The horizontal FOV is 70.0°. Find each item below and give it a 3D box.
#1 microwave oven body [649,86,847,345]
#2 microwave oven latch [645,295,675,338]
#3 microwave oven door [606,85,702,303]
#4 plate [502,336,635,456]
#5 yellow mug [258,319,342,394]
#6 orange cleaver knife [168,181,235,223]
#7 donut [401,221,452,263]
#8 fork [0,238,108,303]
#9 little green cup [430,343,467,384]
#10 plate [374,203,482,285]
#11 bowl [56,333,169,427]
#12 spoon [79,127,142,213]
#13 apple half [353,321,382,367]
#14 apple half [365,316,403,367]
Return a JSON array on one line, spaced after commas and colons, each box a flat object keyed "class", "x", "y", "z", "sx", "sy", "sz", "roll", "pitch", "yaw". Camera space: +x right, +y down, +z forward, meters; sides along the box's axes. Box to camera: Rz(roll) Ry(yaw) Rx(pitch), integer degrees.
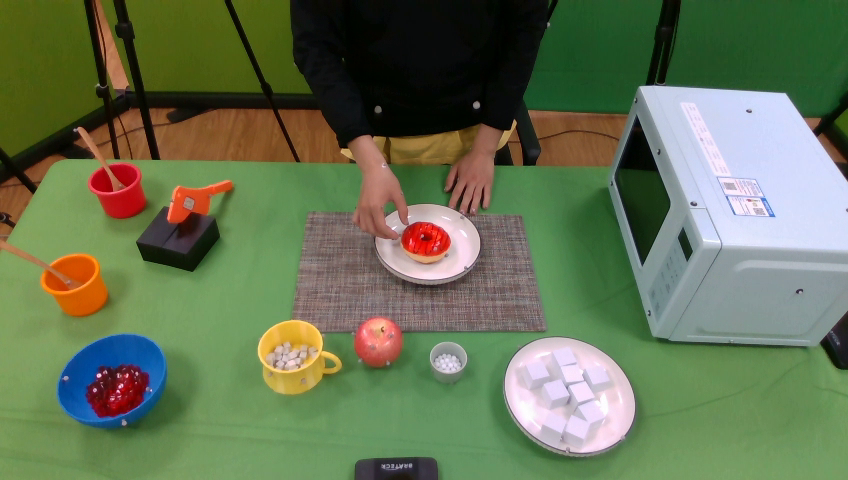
[{"class": "microwave oven body", "x": 0.567, "y": -0.053, "z": 1.118, "sx": 0.326, "sy": 0.261, "sz": 0.439, "roll": 2, "pitch": 45, "yaw": -1}, {"class": "microwave oven latch", "x": 0.411, "y": 0.134, "z": 1.061, "sx": 0.030, "sy": 0.029, "sz": 0.078, "roll": 3, "pitch": 45, "yaw": 0}, {"class": "microwave oven door", "x": 0.423, "y": -0.094, "z": 1.140, "sx": 0.039, "sy": 0.245, "sz": 0.353, "roll": 2, "pitch": 46, "yaw": -1}, {"class": "plate", "x": 0.225, "y": 0.248, "z": 0.964, "sx": 0.208, "sy": 0.039, "sz": 0.206, "roll": 2, "pitch": 46, "yaw": -2}, {"class": "yellow mug", "x": -0.196, "y": 0.188, "z": 0.972, "sx": 0.131, "sy": 0.064, "sz": 0.099, "roll": 9, "pitch": 46, "yaw": 4}, {"class": "orange cleaver knife", "x": -0.436, "y": -0.078, "z": 1.196, "sx": 0.012, "sy": 0.077, "sz": 0.211, "roll": 16, "pitch": 15, "yaw": 10}, {"class": "donut", "x": 0.005, "y": 0.003, "z": 1.164, "sx": 0.099, "sy": 0.048, "sz": 0.098, "roll": 3, "pitch": 43, "yaw": -2}, {"class": "fork", "x": -0.633, "y": 0.048, "z": 1.017, "sx": 0.208, "sy": 0.018, "sz": 0.028, "roll": 40, "pitch": 41, "yaw": -27}, {"class": "little green cup", "x": 0.039, "y": 0.203, "z": 0.994, "sx": 0.061, "sy": 0.039, "sz": 0.061, "roll": 2, "pitch": 46, "yaw": -2}, {"class": "plate", "x": 0.007, "y": 0.011, "z": 1.172, "sx": 0.209, "sy": 0.038, "sz": 0.208, "roll": 2, "pitch": 46, "yaw": -2}, {"class": "bowl", "x": -0.456, "y": 0.223, "z": 0.911, "sx": 0.151, "sy": 0.077, "sz": 0.150, "roll": 3, "pitch": 45, "yaw": -2}, {"class": "spoon", "x": -0.625, "y": -0.139, "z": 1.203, "sx": 0.041, "sy": 0.021, "sz": 0.194, "roll": -33, "pitch": 101, "yaw": -26}, {"class": "apple half", "x": -0.098, "y": 0.177, "z": 0.984, "sx": 0.033, "sy": 0.081, "sz": 0.081, "roll": -17, "pitch": 49, "yaw": -25}, {"class": "apple half", "x": -0.063, "y": 0.165, "z": 1.000, "sx": 0.053, "sy": 0.075, "sz": 0.080, "roll": -16, "pitch": 45, "yaw": -24}]
